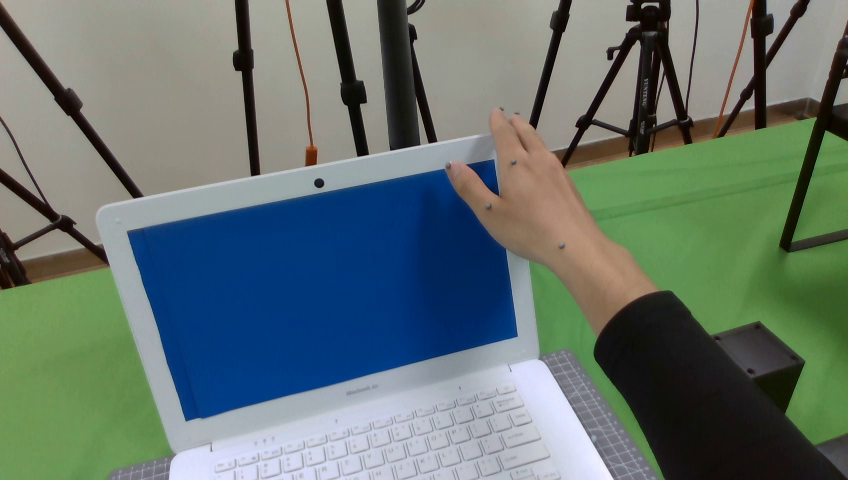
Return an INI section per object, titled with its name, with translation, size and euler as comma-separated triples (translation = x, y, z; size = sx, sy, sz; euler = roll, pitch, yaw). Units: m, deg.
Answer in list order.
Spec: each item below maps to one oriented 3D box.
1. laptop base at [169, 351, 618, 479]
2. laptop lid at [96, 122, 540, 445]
[laptop base]
translation = -0.024, 0.214, 0.481
size = 0.355, 0.023, 0.233
euler = -12, 39, -10
[laptop lid]
translation = -0.073, 0.040, 0.539
size = 0.357, 0.243, 0.013
euler = -14, 17, -9
